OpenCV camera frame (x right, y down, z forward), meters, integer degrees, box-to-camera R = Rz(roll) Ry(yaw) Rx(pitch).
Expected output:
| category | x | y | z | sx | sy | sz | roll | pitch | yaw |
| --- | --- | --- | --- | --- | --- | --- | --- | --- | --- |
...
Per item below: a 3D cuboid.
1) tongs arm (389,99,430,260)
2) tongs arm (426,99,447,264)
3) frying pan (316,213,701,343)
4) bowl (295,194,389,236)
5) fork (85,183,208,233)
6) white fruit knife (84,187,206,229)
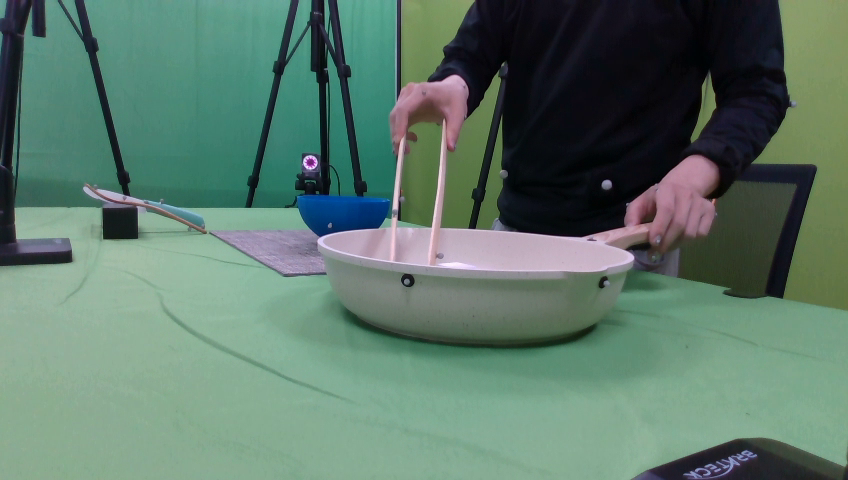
| category | x | y | z | sx | sy | sz | roll | pitch | yaw |
| --- | --- | --- | --- | --- | --- | --- | --- | --- | --- |
| tongs arm | -0.013 | -0.068 | 0.705 | 0.051 | 0.026 | 0.384 | -3 | 39 | 1 |
| tongs arm | 0.010 | -0.067 | 0.704 | 0.028 | 0.028 | 0.387 | -3 | 38 | 7 |
| frying pan | 0.133 | 0.013 | 0.629 | 0.490 | 0.102 | 0.305 | -12 | 14 | -30 |
| bowl | -0.132 | -0.032 | 0.980 | 0.151 | 0.077 | 0.151 | 2 | 7 | 0 |
| fork | -0.462 | -0.051 | 1.020 | 0.208 | 0.018 | 0.028 | 22 | -8 | -37 |
| white fruit knife | -0.488 | -0.059 | 1.071 | 0.208 | 0.027 | 0.016 | 17 | 4 | -33 |
